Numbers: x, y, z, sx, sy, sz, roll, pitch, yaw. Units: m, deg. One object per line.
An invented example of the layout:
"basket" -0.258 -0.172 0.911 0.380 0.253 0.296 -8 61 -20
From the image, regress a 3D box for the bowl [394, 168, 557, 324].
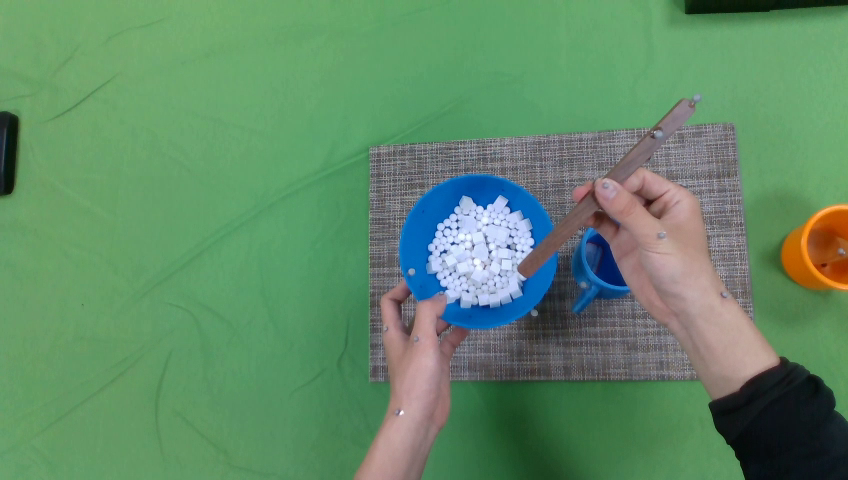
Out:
"bowl" 0.050 0.012 0.601 0.151 0.077 0.150 0 77 2

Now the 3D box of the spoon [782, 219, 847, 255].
"spoon" 0.472 0.005 0.621 0.022 0.192 0.041 24 82 -33

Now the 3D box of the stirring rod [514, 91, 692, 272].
"stirring rod" 0.131 -0.041 0.454 0.014 0.006 0.176 38 104 -18

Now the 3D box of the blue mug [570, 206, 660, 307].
"blue mug" 0.199 0.026 0.673 0.082 0.106 0.116 36 88 12
